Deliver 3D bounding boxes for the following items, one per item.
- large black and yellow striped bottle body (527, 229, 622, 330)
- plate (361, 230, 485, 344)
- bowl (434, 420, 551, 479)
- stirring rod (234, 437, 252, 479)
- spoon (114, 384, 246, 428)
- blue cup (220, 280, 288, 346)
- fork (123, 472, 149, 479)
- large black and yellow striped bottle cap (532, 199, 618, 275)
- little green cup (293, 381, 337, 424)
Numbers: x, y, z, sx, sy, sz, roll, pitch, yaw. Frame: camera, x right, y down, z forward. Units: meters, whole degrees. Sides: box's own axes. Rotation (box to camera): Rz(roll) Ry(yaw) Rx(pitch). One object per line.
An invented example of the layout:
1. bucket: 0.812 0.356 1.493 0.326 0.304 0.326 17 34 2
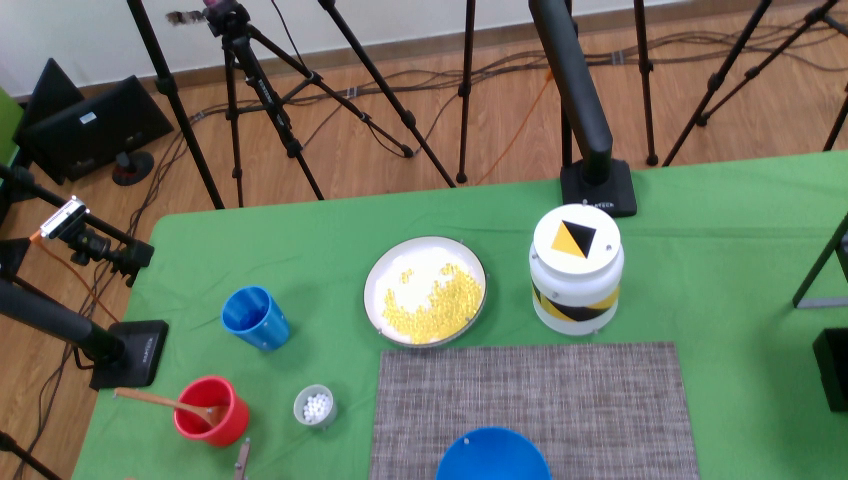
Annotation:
1. large black and yellow striped bottle body: 0.220 0.039 0.893 0.130 0.186 0.129 -6 57 9
2. plate: -0.001 0.080 1.006 0.209 0.038 0.207 -6 57 9
3. bowl: 0.093 0.324 0.797 0.151 0.077 0.150 -6 57 9
4. stirring rod: -0.256 0.354 0.814 0.014 0.006 0.174 -4 57 13
5. spoon: -0.365 0.245 0.917 0.195 0.021 0.041 24 57 -24
6. blue cup: -0.271 0.128 0.996 0.092 0.101 0.092 -7 57 11
7. fork: -0.309 0.362 0.824 0.209 0.018 0.028 34 65 -19
8. large black and yellow striped bottle cap: 0.205 -0.006 0.823 0.115 0.019 0.114 -7 56 10
9. little green cup: -0.165 0.252 0.930 0.061 0.039 0.061 -6 57 10
